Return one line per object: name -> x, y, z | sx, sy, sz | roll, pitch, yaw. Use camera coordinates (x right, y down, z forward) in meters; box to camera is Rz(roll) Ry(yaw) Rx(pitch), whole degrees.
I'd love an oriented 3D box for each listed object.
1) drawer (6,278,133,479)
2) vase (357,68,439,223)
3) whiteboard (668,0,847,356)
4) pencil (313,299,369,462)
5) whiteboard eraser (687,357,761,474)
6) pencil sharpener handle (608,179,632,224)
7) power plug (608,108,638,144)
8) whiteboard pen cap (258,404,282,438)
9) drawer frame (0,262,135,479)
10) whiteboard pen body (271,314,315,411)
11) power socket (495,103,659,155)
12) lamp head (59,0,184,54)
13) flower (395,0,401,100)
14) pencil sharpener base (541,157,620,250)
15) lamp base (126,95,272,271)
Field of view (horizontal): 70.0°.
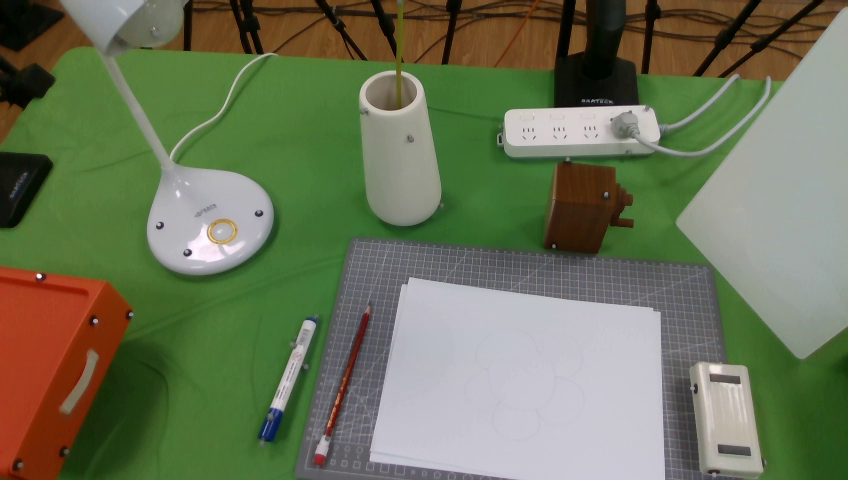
drawer -> -0.440, 0.123, 0.613 | 0.211, 0.074, 0.193 | 7, 59, 7
vase -> -0.034, -0.107, 0.727 | 0.098, 0.202, 0.097 | -2, 56, 3
whiteboard -> 0.459, -0.059, 0.647 | 0.144, 0.307, 0.215 | -12, 55, -28
pencil -> -0.088, 0.149, 0.674 | 0.012, 0.012, 0.192 | 10, 57, 10
whiteboard eraser -> 0.303, 0.177, 0.618 | 0.055, 0.042, 0.112 | 5, 57, 4
pencil sharpener handle -> 0.236, -0.042, 0.713 | 0.030, 0.068, 0.035 | 7, 56, 7
power plug -> 0.263, -0.145, 0.809 | 0.035, 0.053, 0.072 | 8, 59, 8
whiteboard pen cap -> -0.162, 0.190, 0.640 | 0.018, 0.018, 0.033 | 9, 52, 9
drawer frame -> -0.446, 0.125, 0.615 | 0.213, 0.083, 0.200 | 8, 58, 5
whiteboard pen body -> -0.148, 0.144, 0.674 | 0.017, 0.017, 0.139 | 8, 54, 9
power socket -> 0.214, -0.155, 0.846 | 0.227, 0.033, 0.071 | 0, 58, 2
lamp head -> -0.257, -0.228, 0.481 | 0.123, 0.112, 0.112 | 45, 63, -15
flower -> -0.028, -0.167, 0.667 | 0.038, 0.365, 0.043 | -5, 39, -9
pencil sharpener base -> 0.186, -0.041, 0.729 | 0.076, 0.108, 0.061 | 7, 57, 7
lamp base -> -0.292, -0.078, 0.731 | 0.178, 0.182, 0.160 | 34, 64, 25
